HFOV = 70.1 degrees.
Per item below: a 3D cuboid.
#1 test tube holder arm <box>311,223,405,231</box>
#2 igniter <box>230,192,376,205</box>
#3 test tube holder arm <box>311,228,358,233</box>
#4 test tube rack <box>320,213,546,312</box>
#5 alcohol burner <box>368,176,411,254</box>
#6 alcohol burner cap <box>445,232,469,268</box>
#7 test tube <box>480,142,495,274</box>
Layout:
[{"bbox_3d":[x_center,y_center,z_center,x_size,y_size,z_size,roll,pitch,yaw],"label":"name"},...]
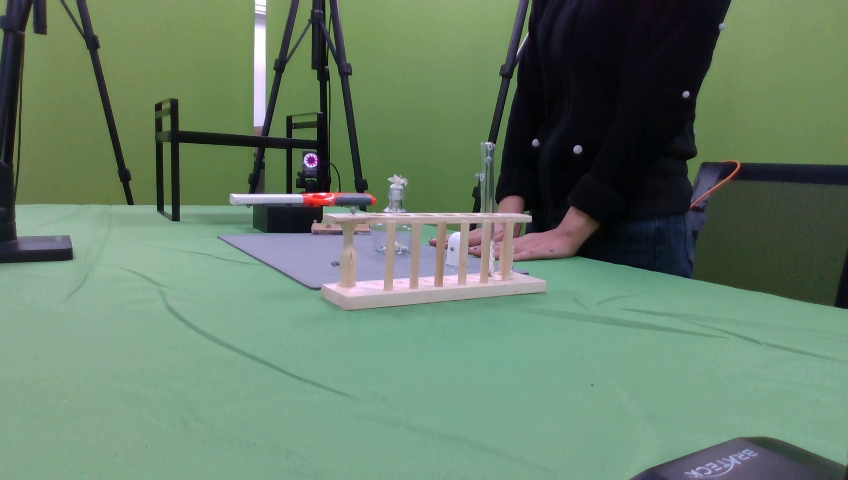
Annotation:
[{"bbox_3d":[-0.119,-0.024,1.116,0.179,0.015,0.013,-2,-21,-23],"label":"test tube holder arm"},{"bbox_3d":[-0.226,-0.079,1.161,0.278,0.025,0.057,-2,15,-28],"label":"igniter"},{"bbox_3d":[-0.163,-0.021,1.102,0.088,0.015,0.010,-2,-21,-23],"label":"test tube holder arm"},{"bbox_3d":[0.018,0.017,0.638,0.244,0.085,0.066,-2,9,-31],"label":"test tube rack"},{"bbox_3d":[-0.045,-0.038,0.913,0.078,0.119,0.078,4,8,0],"label":"alcohol burner"},{"bbox_3d":[0.045,0.013,0.829,0.034,0.048,0.034,2,8,0],"label":"alcohol burner cap"},{"bbox_3d":[0.072,-0.036,0.686,0.017,0.150,0.017,-1,5,0],"label":"test tube"}]
